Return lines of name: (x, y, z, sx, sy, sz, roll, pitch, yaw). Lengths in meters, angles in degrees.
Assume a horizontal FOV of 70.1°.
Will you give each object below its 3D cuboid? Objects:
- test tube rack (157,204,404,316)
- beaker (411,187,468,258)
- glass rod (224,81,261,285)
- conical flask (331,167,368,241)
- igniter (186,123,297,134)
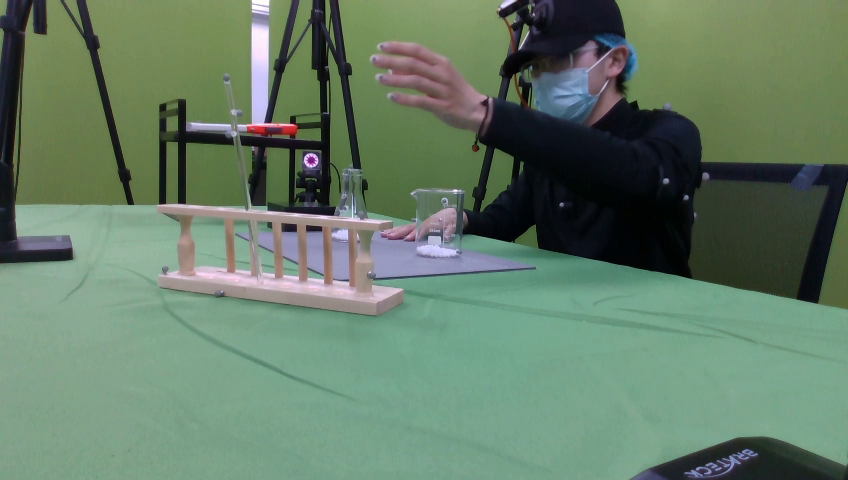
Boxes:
test tube rack: (-0.143, 0.013, 0.598, 0.242, 0.085, 0.067, 5, 8, 19)
beaker: (0.021, -0.027, 0.892, 0.084, 0.100, 0.074, 1, 7, -1)
glass rod: (-0.174, -0.052, 0.582, 0.008, 0.199, 0.008, -7, 7, 1)
conical flask: (-0.123, -0.061, 1.019, 0.075, 0.122, 0.075, 2, 7, 0)
igniter: (-0.392, -0.248, 1.341, 0.057, 0.025, 0.278, 9, 14, 38)
